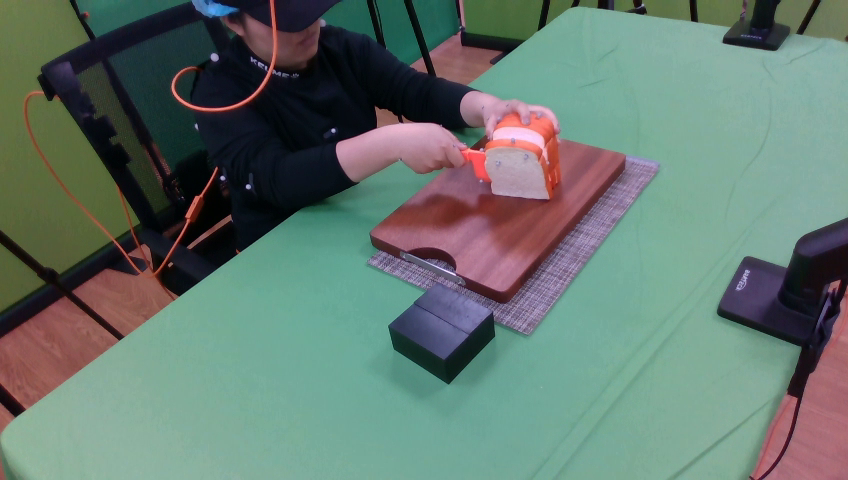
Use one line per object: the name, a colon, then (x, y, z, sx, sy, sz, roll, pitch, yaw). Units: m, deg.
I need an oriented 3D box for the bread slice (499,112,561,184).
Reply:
bread slice: (0.176, -0.151, 1.007, 0.106, 0.135, 0.018, 14, 50, 22)

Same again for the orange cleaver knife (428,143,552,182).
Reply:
orange cleaver knife: (0.108, -0.127, 1.002, 0.210, 0.077, 0.012, 10, 50, 22)

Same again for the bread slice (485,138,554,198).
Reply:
bread slice: (0.148, -0.113, 0.967, 0.104, 0.132, 0.019, 7, 59, 24)
